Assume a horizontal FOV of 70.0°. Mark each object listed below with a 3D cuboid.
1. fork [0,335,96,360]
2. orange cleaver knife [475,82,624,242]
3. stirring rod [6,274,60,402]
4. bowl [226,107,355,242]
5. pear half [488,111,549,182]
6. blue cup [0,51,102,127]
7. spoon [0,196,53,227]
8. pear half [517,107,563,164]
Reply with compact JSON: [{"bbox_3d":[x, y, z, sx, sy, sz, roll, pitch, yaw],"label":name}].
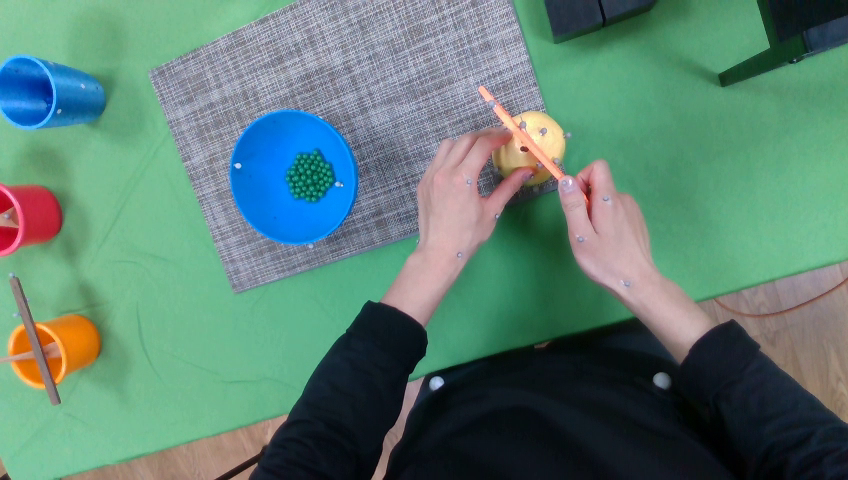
[{"bbox_3d":[-0.553,0.152,0.802,0.208,0.018,0.028,-6,112,-31],"label":"fork"},{"bbox_3d":[0.123,-0.072,0.580,0.012,0.076,0.213,-42,119,15],"label":"orange cleaver knife"},{"bbox_3d":[-0.508,0.129,0.787,0.014,0.006,0.176,-13,97,12],"label":"stirring rod"},{"bbox_3d":[-0.143,-0.077,0.706,0.151,0.077,0.152,2,100,12],"label":"bowl"},{"bbox_3d":[0.095,-0.094,0.636,0.056,0.110,0.076,-35,85,12],"label":"pear half"},{"bbox_3d":[-0.458,-0.182,0.747,0.092,0.100,0.093,2,101,10],"label":"blue cup"},{"bbox_3d":[-0.590,-0.021,0.784,0.194,0.021,0.042,-16,99,-29],"label":"spoon"},{"bbox_3d":[0.126,-0.115,0.636,0.031,0.088,0.070,-39,85,14],"label":"pear half"}]
